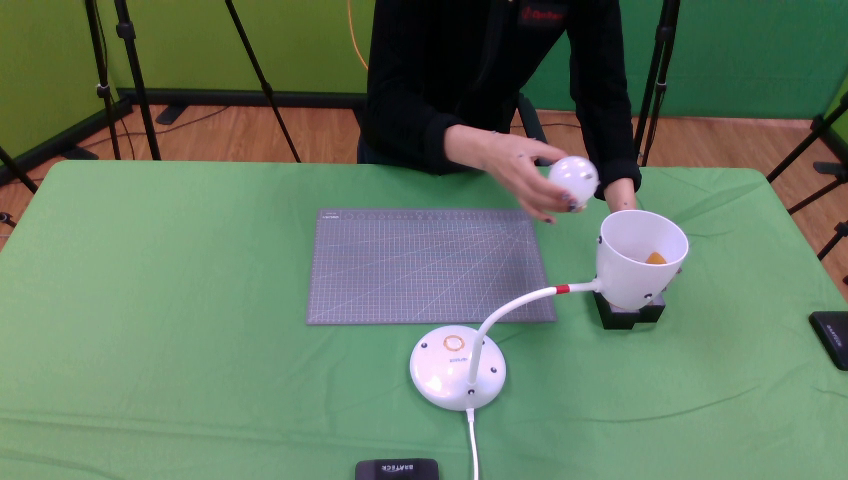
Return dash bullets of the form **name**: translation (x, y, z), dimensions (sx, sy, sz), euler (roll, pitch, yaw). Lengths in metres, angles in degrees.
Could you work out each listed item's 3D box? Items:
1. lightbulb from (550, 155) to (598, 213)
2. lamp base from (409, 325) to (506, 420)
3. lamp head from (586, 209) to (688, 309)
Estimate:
- **lightbulb**: translation (0.196, -0.067, 0.785), dimensions (0.059, 0.108, 0.059), euler (-7, 64, 15)
- **lamp base**: translation (0.064, 0.163, 0.938), dimensions (0.161, 0.181, 0.178), euler (-11, 51, -14)
- **lamp head**: translation (0.280, 0.037, 0.823), dimensions (0.112, 0.123, 0.111), euler (6, 40, -5)
